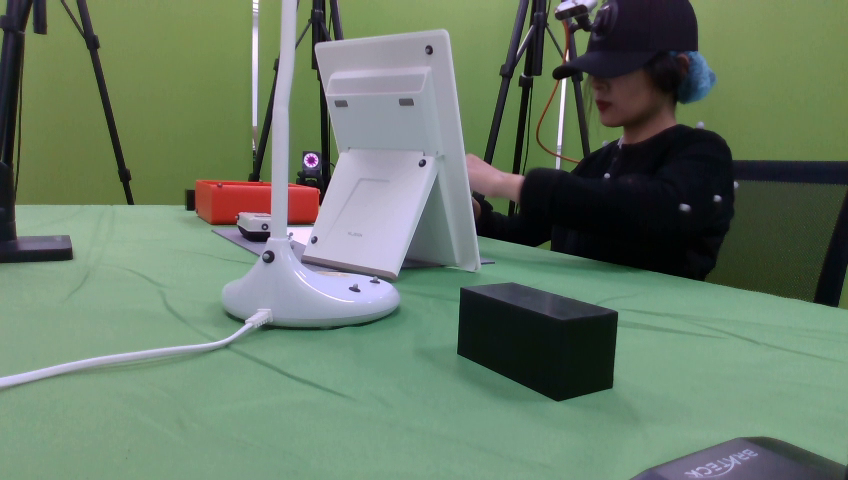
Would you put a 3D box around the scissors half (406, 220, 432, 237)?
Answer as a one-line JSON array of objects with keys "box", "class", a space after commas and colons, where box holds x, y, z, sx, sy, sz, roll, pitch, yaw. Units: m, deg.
[{"box": [-0.007, -0.022, 1.215, 0.040, 0.013, 0.174, 6, 10, -15], "class": "scissors half"}]

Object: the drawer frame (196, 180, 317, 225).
[{"box": [-0.359, -0.083, 1.292, 0.215, 0.082, 0.200, -2, 10, -30], "class": "drawer frame"}]

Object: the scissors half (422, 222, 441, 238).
[{"box": [0.013, -0.018, 1.217, 0.040, 0.013, 0.175, 14, 9, 1], "class": "scissors half"}]

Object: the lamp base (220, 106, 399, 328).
[{"box": [-0.101, -0.023, 0.531, 0.160, 0.180, 0.179, 4, 10, 10], "class": "lamp base"}]

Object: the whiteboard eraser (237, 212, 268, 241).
[{"box": [-0.272, -0.023, 0.998, 0.056, 0.042, 0.112, -3, 9, -26], "class": "whiteboard eraser"}]

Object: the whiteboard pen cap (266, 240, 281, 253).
[{"box": [-0.202, 0.009, 0.813, 0.018, 0.018, 0.033, 1, 3, -8], "class": "whiteboard pen cap"}]

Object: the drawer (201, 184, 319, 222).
[{"box": [-0.353, -0.082, 1.296, 0.213, 0.073, 0.193, -2, 10, -28], "class": "drawer"}]

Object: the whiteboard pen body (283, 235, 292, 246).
[{"box": [-0.206, 0.005, 0.872, 0.017, 0.017, 0.140, 2, 4, -6], "class": "whiteboard pen body"}]

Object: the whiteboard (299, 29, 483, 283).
[{"box": [-0.074, -0.082, 0.742, 0.216, 0.305, 0.144, 9, 29, 38], "class": "whiteboard"}]
